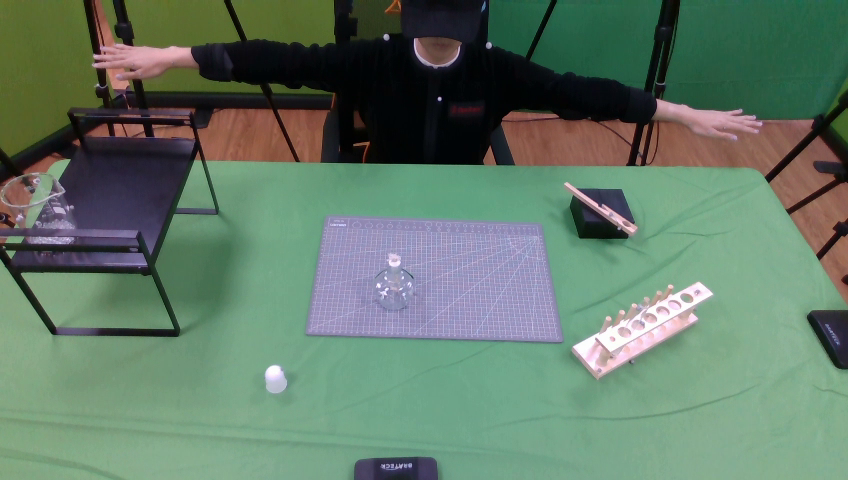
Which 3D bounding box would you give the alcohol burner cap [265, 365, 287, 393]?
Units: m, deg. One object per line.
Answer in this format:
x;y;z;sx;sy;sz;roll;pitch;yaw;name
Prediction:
-0.236;0.216;0.956;0.034;0.048;0.033;3;45;-3;alcohol burner cap

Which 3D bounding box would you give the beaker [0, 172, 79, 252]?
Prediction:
-0.557;-0.038;0.889;0.084;0.101;0.073;-3;47;-8;beaker

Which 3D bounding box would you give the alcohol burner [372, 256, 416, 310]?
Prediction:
-0.052;0.068;1.057;0.078;0.120;0.077;1;48;-1;alcohol burner

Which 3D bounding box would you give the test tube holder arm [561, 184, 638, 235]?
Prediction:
0.349;-0.063;1.213;0.177;0.015;0.013;36;52;26;test tube holder arm

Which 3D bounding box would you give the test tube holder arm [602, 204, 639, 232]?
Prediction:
0.385;-0.041;1.196;0.010;0.015;0.087;-31;56;-32;test tube holder arm

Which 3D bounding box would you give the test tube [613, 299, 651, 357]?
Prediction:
0.328;0.143;0.962;0.017;0.151;0.017;3;48;-3;test tube

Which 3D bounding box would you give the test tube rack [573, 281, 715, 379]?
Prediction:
0.378;0.140;1.038;0.242;0.085;0.066;-22;51;-23;test tube rack
